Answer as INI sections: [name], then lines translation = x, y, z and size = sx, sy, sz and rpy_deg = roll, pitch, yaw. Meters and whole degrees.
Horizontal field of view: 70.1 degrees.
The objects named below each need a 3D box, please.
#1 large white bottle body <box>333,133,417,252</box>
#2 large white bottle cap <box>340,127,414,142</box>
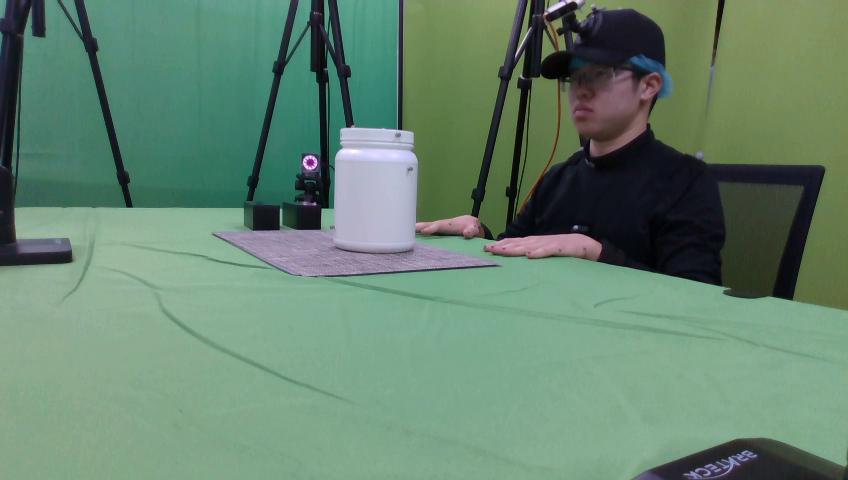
[large white bottle body]
translation = -0.076, -0.080, 0.950
size = 0.131, 0.184, 0.130
rpy_deg = 2, 7, 0
[large white bottle cap]
translation = -0.072, -0.163, 0.940
size = 0.115, 0.018, 0.115
rpy_deg = 2, 7, 0
